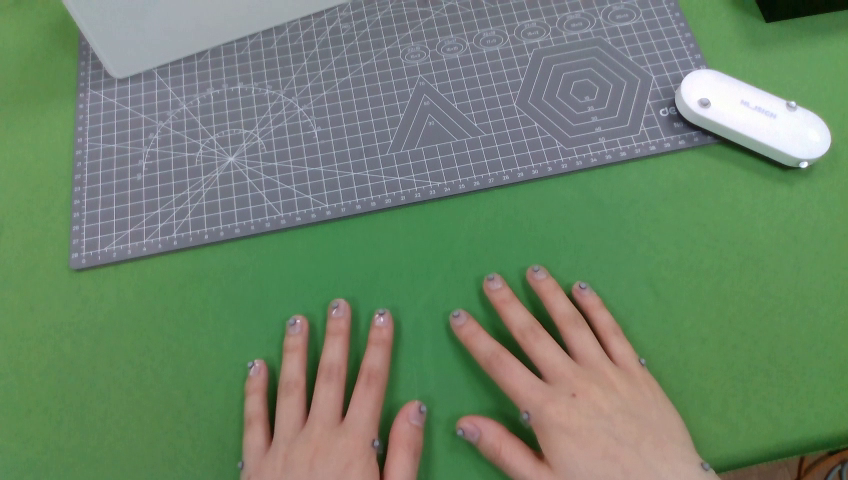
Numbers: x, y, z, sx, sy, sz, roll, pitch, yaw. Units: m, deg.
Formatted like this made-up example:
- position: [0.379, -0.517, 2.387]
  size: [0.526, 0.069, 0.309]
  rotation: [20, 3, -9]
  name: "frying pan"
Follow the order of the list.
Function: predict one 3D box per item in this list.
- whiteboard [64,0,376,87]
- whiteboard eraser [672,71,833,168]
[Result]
- position: [-0.174, -0.298, 0.391]
  size: [0.217, 0.308, 0.142]
  rotation: [-20, 47, -5]
  name: "whiteboard"
- position: [0.217, -0.080, 0.401]
  size: [0.101, 0.019, 0.041]
  rotation: [27, 70, 11]
  name: "whiteboard eraser"
